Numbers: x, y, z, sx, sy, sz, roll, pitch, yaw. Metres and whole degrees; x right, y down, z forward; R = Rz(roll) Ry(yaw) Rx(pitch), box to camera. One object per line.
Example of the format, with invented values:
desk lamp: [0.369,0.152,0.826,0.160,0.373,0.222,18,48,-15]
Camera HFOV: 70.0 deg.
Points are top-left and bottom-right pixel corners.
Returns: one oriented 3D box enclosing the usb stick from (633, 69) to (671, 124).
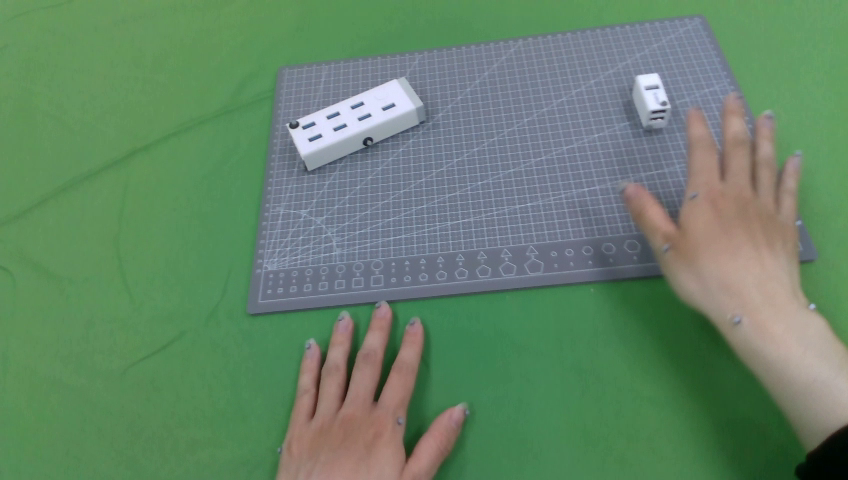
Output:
usb stick: [0.206,-0.136,0.553,0.021,0.027,0.058,-7,54,5]

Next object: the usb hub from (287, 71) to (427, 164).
usb hub: [-0.064,-0.119,0.578,0.125,0.025,0.049,-24,57,-9]
